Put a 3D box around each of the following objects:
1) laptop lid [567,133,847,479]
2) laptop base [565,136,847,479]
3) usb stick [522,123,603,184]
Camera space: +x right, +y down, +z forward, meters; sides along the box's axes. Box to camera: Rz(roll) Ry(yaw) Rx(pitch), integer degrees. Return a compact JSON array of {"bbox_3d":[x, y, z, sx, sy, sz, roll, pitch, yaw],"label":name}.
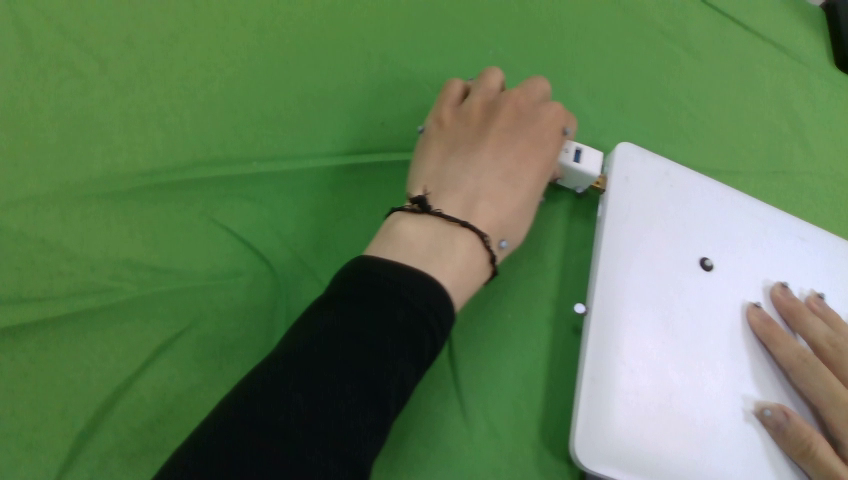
[{"bbox_3d":[0.265,0.081,0.399,0.358,0.013,0.240,23,60,-8],"label":"laptop lid"},{"bbox_3d":[0.263,0.084,0.410,0.355,0.023,0.234,22,61,-9],"label":"laptop base"},{"bbox_3d":[0.098,-0.055,0.408,0.059,0.027,0.021,20,63,-13],"label":"usb stick"}]
